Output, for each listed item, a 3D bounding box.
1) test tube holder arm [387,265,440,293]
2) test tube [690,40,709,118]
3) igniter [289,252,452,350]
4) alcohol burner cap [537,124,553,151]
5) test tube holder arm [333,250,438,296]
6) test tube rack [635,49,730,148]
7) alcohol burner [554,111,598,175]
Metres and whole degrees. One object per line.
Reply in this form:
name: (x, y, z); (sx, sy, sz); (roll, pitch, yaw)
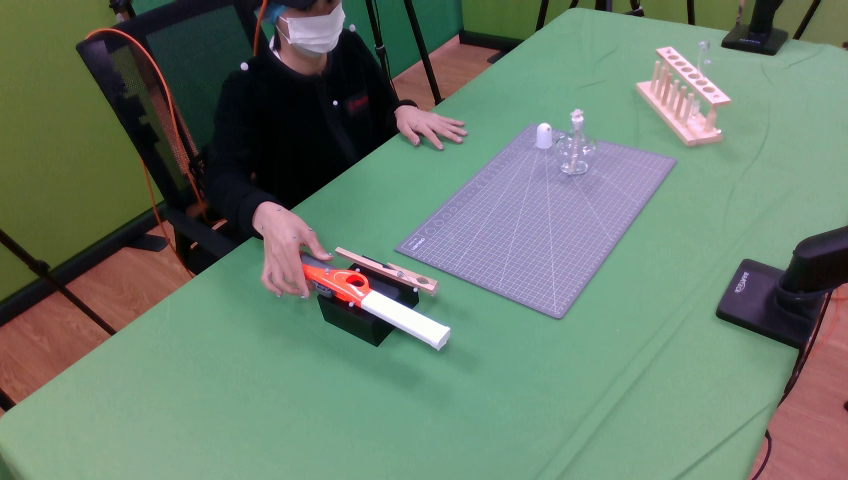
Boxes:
test tube holder arm: (-0.017, 0.054, 0.843); (0.087, 0.015, 0.010); (18, 50, 27)
test tube: (0.510, -0.295, 1.120); (0.017, 0.151, 0.017); (-6, 39, 6)
igniter: (-0.084, 0.077, 0.821); (0.274, 0.025, 0.057); (23, 46, 28)
alcohol burner cap: (0.232, -0.199, 1.158); (0.034, 0.048, 0.033); (-5, 40, 5)
test tube holder arm: (-0.059, 0.045, 0.860); (0.177, 0.015, 0.013); (17, 49, 26)
test tube rack: (0.497, -0.283, 1.185); (0.067, 0.085, 0.240); (-10, 40, -2)
alcohol burner: (0.270, -0.175, 1.066); (0.078, 0.119, 0.077); (-4, 42, 4)
